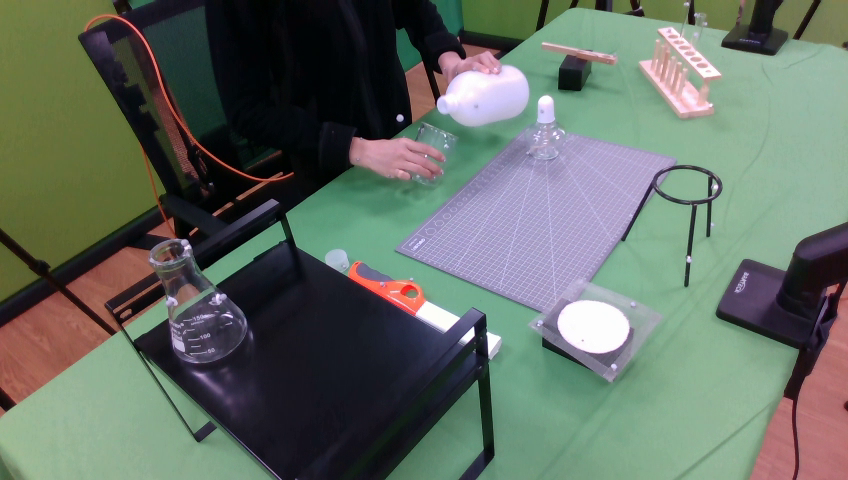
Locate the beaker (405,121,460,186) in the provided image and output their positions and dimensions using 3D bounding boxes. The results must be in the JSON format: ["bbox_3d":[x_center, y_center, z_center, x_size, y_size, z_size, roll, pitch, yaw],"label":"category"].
[{"bbox_3d":[0.015,-0.154,1.093,0.073,0.100,0.084,30,14,33],"label":"beaker"}]

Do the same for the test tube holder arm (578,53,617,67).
[{"bbox_3d":[0.375,-0.393,1.314,0.087,0.015,0.010,26,51,32],"label":"test tube holder arm"}]

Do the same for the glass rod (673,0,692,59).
[{"bbox_3d":[0.537,-0.437,1.257,0.008,0.200,0.008,0,39,1],"label":"glass rod"}]

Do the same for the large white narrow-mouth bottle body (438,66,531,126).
[{"bbox_3d":[0.105,-0.266,1.129,0.196,0.102,0.101,-22,40,-38],"label":"large white narrow-mouth bottle body"}]

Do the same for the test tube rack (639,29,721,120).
[{"bbox_3d":[0.527,-0.351,1.262,0.067,0.085,0.241,-8,40,1],"label":"test tube rack"}]

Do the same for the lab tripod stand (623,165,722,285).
[{"bbox_3d":[0.365,-0.030,0.874,0.148,0.132,0.147,-6,41,6],"label":"lab tripod stand"}]

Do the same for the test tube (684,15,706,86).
[{"bbox_3d":[0.541,-0.378,1.215,0.017,0.151,0.017,-2,44,3],"label":"test tube"}]

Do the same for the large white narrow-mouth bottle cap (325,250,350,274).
[{"bbox_3d":[-0.138,0.035,0.966,0.038,0.024,0.037,-4,41,4],"label":"large white narrow-mouth bottle cap"}]

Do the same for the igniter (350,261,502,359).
[{"bbox_3d":[-0.009,0.094,0.870,0.274,0.025,0.057,25,61,33],"label":"igniter"}]

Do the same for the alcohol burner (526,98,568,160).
[{"bbox_3d":[0.228,-0.210,1.118,0.078,0.119,0.077,-5,43,5],"label":"alcohol burner"}]

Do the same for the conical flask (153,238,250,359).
[{"bbox_3d":[-0.225,0.055,0.597,0.075,0.122,0.075,-5,41,4],"label":"conical flask"}]

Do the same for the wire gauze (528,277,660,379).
[{"bbox_3d":[0.213,0.103,0.763,0.124,0.011,0.122,30,52,35],"label":"wire gauze"}]

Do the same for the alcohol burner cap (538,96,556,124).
[{"bbox_3d":[0.222,-0.237,1.095,0.034,0.048,0.033,-7,34,5],"label":"alcohol burner cap"}]

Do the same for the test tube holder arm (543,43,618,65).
[{"bbox_3d":[0.344,-0.413,1.340,0.177,0.015,0.013,25,51,31],"label":"test tube holder arm"}]
